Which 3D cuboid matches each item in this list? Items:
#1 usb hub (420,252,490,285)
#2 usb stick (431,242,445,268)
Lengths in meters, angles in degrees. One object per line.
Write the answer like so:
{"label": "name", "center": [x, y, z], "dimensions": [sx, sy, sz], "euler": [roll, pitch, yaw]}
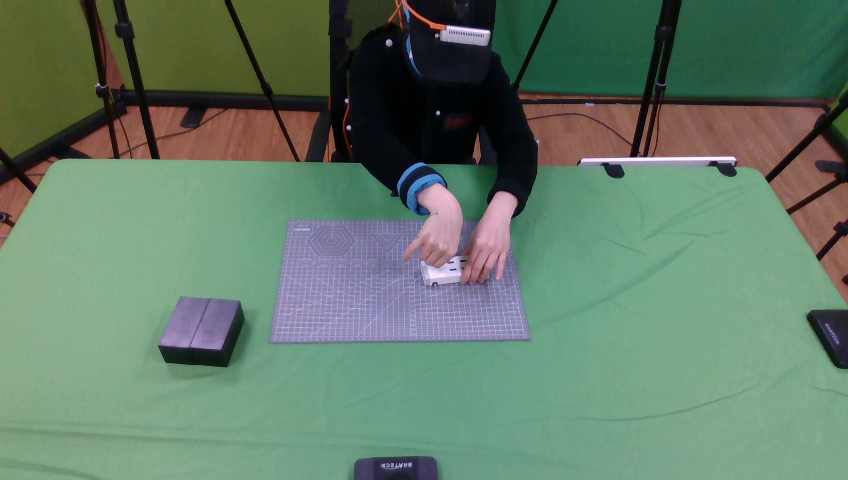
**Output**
{"label": "usb hub", "center": [0.059, 0.055, 1.142], "dimensions": [0.125, 0.025, 0.049], "euler": [-7, 48, -10]}
{"label": "usb stick", "center": [0.026, 0.032, 1.117], "dimensions": [0.021, 0.059, 0.027], "euler": [-12, 49, -8]}
